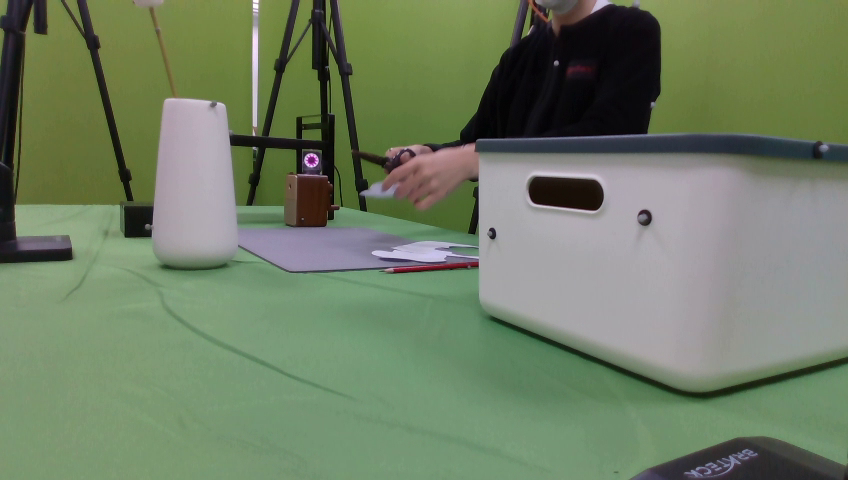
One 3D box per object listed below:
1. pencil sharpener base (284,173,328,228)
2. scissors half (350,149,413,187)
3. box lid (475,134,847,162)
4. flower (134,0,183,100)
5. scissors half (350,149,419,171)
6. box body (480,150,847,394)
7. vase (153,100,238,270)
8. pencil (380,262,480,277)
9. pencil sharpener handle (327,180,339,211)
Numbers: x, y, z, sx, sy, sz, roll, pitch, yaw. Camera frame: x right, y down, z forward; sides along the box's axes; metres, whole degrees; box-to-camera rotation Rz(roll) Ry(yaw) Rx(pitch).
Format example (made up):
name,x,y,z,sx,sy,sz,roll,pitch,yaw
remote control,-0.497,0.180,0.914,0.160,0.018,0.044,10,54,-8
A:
name,x,y,z,sx,sy,sz,roll,pitch,yaw
pencil sharpener base,-0.239,-0.081,1.231,0.077,0.107,0.061,-2,8,-36
scissors half,-0.077,-0.132,1.091,0.012,0.040,0.176,33,5,36
box lid,0.256,-0.073,0.528,0.373,0.015,0.262,-2,8,-31
flower,-0.282,-0.147,0.713,0.038,0.362,0.044,-23,24,-31
scissors half,-0.068,-0.150,1.088,0.013,0.040,0.176,26,18,37
box body,0.254,0.002,0.539,0.366,0.160,0.253,-2,8,-31
vase,-0.278,-0.066,0.736,0.098,0.200,0.098,2,9,0
pencil,0.030,0.037,0.795,0.195,0.012,0.012,-4,10,-29
pencil sharpener handle,-0.194,-0.094,1.256,0.031,0.067,0.036,-2,-5,-36
